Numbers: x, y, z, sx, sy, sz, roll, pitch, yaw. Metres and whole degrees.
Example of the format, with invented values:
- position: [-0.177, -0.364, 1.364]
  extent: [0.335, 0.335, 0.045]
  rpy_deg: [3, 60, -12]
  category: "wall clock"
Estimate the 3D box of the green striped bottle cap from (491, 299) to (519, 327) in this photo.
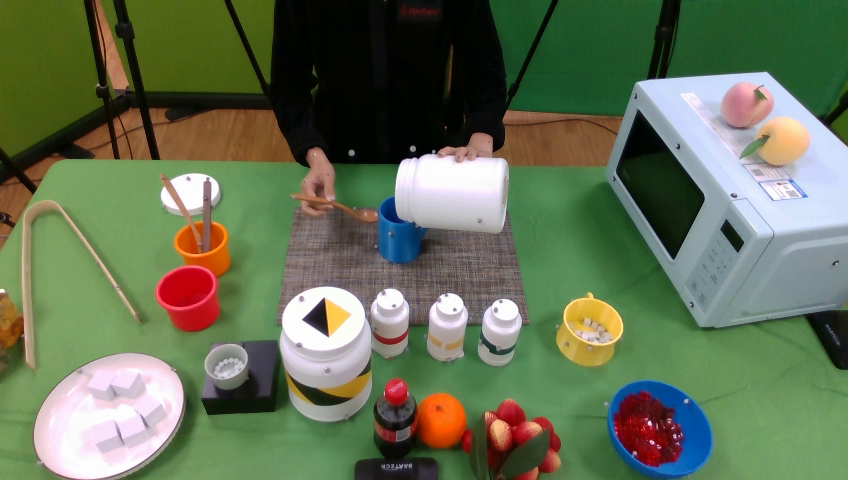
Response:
- position: [0.128, 0.115, 0.958]
  extent: [0.044, 0.020, 0.044]
  rpy_deg: [1, 46, -1]
  category: "green striped bottle cap"

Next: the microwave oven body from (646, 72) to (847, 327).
- position: [0.607, -0.089, 1.164]
  extent: [0.326, 0.261, 0.438]
  rpy_deg: [-7, 46, -10]
  category: "microwave oven body"

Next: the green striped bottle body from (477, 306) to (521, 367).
- position: [0.124, 0.151, 0.995]
  extent: [0.063, 0.120, 0.063]
  rpy_deg: [2, 46, -2]
  category: "green striped bottle body"

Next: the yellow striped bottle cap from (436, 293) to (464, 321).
- position: [0.041, 0.106, 0.959]
  extent: [0.044, 0.019, 0.044]
  rpy_deg: [-1, 50, 1]
  category: "yellow striped bottle cap"

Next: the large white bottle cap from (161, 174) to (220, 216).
- position: [-0.483, -0.095, 1.253]
  extent: [0.115, 0.018, 0.114]
  rpy_deg: [2, 46, -2]
  category: "large white bottle cap"

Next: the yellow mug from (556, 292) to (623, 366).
- position: [0.285, 0.145, 1.051]
  extent: [0.100, 0.064, 0.130]
  rpy_deg: [7, 45, 3]
  category: "yellow mug"

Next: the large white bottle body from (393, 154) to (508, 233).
- position: [0.048, -0.083, 1.057]
  extent: [0.184, 0.131, 0.130]
  rpy_deg: [5, 45, 11]
  category: "large white bottle body"

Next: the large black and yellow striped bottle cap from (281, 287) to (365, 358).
- position: [-0.141, 0.112, 0.847]
  extent: [0.115, 0.019, 0.114]
  rpy_deg: [5, 45, -4]
  category: "large black and yellow striped bottle cap"

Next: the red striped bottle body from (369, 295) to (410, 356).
- position: [-0.058, 0.135, 0.997]
  extent: [0.063, 0.120, 0.062]
  rpy_deg: [6, 48, -6]
  category: "red striped bottle body"

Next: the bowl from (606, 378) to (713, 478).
- position: [0.340, 0.292, 0.906]
  extent: [0.151, 0.077, 0.150]
  rpy_deg: [2, 46, -2]
  category: "bowl"

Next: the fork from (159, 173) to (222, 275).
- position: [-0.427, -0.029, 1.103]
  extent: [0.028, 0.018, 0.207]
  rpy_deg: [-31, 99, -30]
  category: "fork"

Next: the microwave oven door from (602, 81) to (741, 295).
- position: [0.456, -0.107, 1.162]
  extent: [0.039, 0.245, 0.353]
  rpy_deg: [-7, 47, -11]
  category: "microwave oven door"

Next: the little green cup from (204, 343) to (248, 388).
- position: [-0.294, 0.190, 0.909]
  extent: [0.061, 0.039, 0.061]
  rpy_deg: [1, 48, 0]
  category: "little green cup"

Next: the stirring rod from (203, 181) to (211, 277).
- position: [-0.396, -0.021, 1.107]
  extent: [0.014, 0.006, 0.176]
  rpy_deg: [-1, 89, -1]
  category: "stirring rod"

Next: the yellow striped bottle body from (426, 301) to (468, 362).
- position: [0.037, 0.142, 0.996]
  extent: [0.063, 0.121, 0.062]
  rpy_deg: [3, 46, -3]
  category: "yellow striped bottle body"

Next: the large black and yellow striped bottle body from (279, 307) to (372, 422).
- position: [-0.145, 0.173, 0.907]
  extent: [0.131, 0.185, 0.130]
  rpy_deg: [2, 46, -2]
  category: "large black and yellow striped bottle body"

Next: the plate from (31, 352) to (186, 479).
- position: [-0.459, 0.262, 0.898]
  extent: [0.209, 0.038, 0.208]
  rpy_deg: [2, 46, -2]
  category: "plate"

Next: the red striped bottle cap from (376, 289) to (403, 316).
- position: [-0.054, 0.098, 0.958]
  extent: [0.044, 0.018, 0.044]
  rpy_deg: [0, 48, 1]
  category: "red striped bottle cap"

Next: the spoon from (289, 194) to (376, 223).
- position: [-0.166, -0.063, 1.132]
  extent: [0.195, 0.021, 0.041]
  rpy_deg: [18, 29, -42]
  category: "spoon"

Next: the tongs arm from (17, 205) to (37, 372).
- position: [-0.698, 0.072, 1.069]
  extent: [0.028, 0.028, 0.385]
  rpy_deg: [-21, 51, -13]
  category: "tongs arm"

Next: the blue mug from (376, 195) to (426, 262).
- position: [-0.036, -0.028, 1.158]
  extent: [0.116, 0.106, 0.082]
  rpy_deg: [-26, 54, -25]
  category: "blue mug"

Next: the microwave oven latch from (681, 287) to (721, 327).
- position: [0.494, 0.119, 1.087]
  extent: [0.030, 0.029, 0.078]
  rpy_deg: [-6, 46, -9]
  category: "microwave oven latch"

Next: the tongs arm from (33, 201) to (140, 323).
- position: [-0.623, 0.035, 1.105]
  extent: [0.051, 0.026, 0.382]
  rpy_deg: [-33, 56, -25]
  category: "tongs arm"
